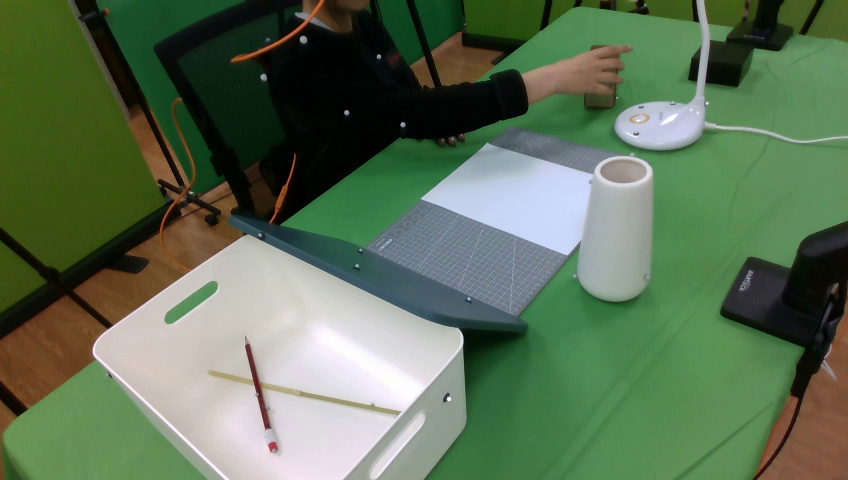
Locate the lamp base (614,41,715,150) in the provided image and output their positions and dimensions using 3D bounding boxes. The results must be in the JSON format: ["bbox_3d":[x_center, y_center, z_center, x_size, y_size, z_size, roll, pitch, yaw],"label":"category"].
[{"bbox_3d":[0.449,-0.277,1.106,0.179,0.181,0.160,1,41,9],"label":"lamp base"}]

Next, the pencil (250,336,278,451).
[{"bbox_3d":[-0.213,0.193,0.790,0.012,0.012,0.192,-19,43,-11],"label":"pencil"}]

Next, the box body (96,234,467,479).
[{"bbox_3d":[-0.155,0.169,0.707,0.361,0.161,0.255,23,49,33],"label":"box body"}]

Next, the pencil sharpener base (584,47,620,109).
[{"bbox_3d":[0.367,-0.336,1.248,0.061,0.107,0.076,6,42,19],"label":"pencil sharpener base"}]

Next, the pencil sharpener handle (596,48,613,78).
[{"bbox_3d":[0.383,-0.378,1.276,0.036,0.068,0.030,3,41,22],"label":"pencil sharpener handle"}]

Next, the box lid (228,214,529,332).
[{"bbox_3d":[-0.060,0.045,0.812,0.368,0.265,0.015,22,93,32],"label":"box lid"}]

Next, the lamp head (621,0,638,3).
[{"bbox_3d":[0.319,-0.453,0.962,0.113,0.123,0.112,20,33,-13],"label":"lamp head"}]

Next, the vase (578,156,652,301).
[{"bbox_3d":[0.261,-0.011,0.812,0.098,0.201,0.097,-4,40,4],"label":"vase"}]

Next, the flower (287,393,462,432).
[{"bbox_3d":[-0.122,0.204,0.771,0.360,0.038,0.044,1,78,22],"label":"flower"}]
